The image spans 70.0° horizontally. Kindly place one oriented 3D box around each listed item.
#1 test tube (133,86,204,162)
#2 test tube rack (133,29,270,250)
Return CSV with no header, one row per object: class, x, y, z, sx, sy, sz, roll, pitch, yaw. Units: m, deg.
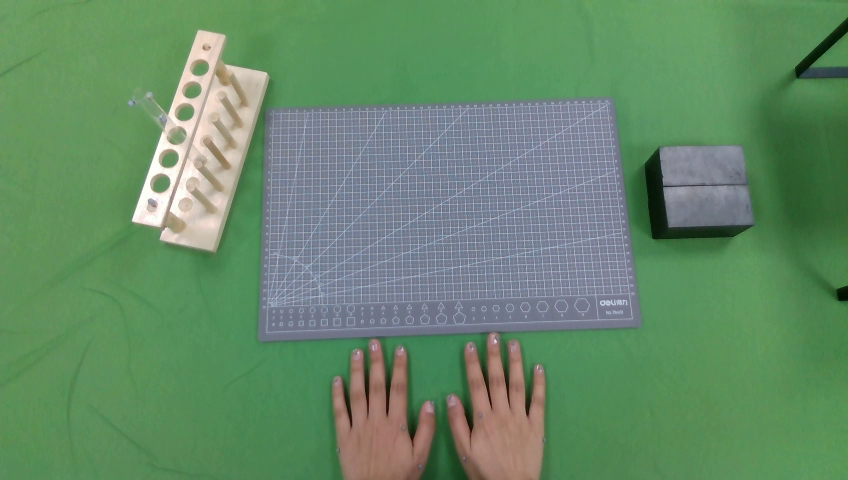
test tube,-0.281,-0.124,0.675,0.017,0.151,0.017,-1,72,3
test tube rack,-0.259,-0.118,0.725,0.067,0.085,0.241,12,76,3
